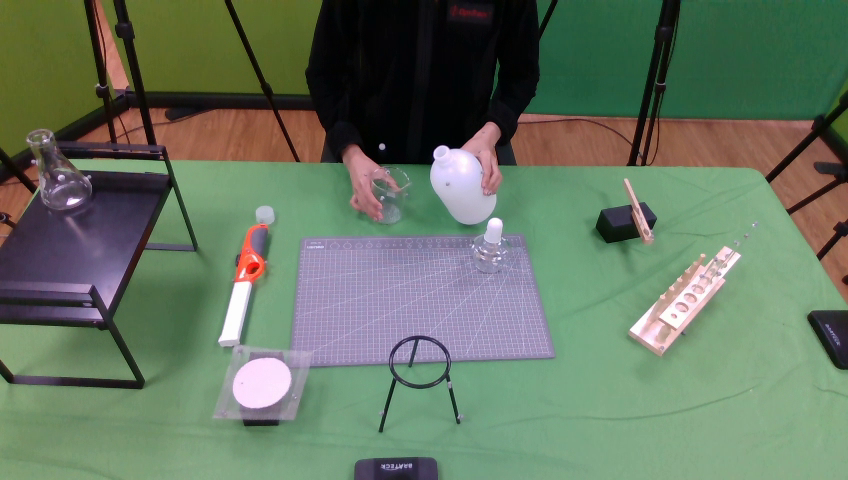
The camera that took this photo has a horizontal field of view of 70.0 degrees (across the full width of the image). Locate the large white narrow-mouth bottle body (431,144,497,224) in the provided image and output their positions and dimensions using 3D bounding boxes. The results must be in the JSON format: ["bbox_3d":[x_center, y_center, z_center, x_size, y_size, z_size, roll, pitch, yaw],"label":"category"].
[{"bbox_3d":[0.069,-0.117,1.159,0.101,0.196,0.101,-11,59,19],"label":"large white narrow-mouth bottle body"}]

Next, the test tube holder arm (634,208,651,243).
[{"bbox_3d":[0.428,-0.030,1.189,0.010,0.015,0.087,1,47,-2],"label":"test tube holder arm"}]

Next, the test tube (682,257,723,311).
[{"bbox_3d":[0.475,0.080,1.037,0.017,0.151,0.017,1,50,-1],"label":"test tube"}]

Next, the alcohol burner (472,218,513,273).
[{"bbox_3d":[0.128,0.005,1.132,0.078,0.120,0.077,0,47,0],"label":"alcohol burner"}]

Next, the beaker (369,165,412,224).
[{"bbox_3d":[-0.070,-0.088,1.221,0.084,0.101,0.073,5,47,-5],"label":"beaker"}]

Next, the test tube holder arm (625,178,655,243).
[{"bbox_3d":[0.433,-0.063,1.220,0.013,0.015,0.177,1,47,-3],"label":"test tube holder arm"}]

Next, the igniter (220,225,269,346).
[{"bbox_3d":[-0.323,0.072,1.100,0.057,0.025,0.275,-6,46,5],"label":"igniter"}]

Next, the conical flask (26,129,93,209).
[{"bbox_3d":[-0.575,-0.113,0.946,0.075,0.122,0.075,2,46,-2],"label":"conical flask"}]

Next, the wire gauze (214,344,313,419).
[{"bbox_3d":[-0.241,0.213,0.916,0.121,0.011,0.124,5,46,1],"label":"wire gauze"}]

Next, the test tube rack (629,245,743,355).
[{"bbox_3d":[0.474,0.095,1.091,0.242,0.085,0.066,-34,56,-31],"label":"test tube rack"}]

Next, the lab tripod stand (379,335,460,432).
[{"bbox_3d":[-0.011,0.214,0.911,0.148,0.132,0.147,1,45,0],"label":"lab tripod stand"}]

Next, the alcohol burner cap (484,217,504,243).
[{"bbox_3d":[0.130,-0.021,1.107,0.034,0.048,0.033,4,40,-3],"label":"alcohol burner cap"}]

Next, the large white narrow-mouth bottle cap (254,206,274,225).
[{"bbox_3d":[-0.323,-0.049,1.222,0.038,0.024,0.037,2,47,-2],"label":"large white narrow-mouth bottle cap"}]

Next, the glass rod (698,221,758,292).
[{"bbox_3d":[0.527,0.035,1.060,0.008,0.200,0.008,5,49,-6],"label":"glass rod"}]
